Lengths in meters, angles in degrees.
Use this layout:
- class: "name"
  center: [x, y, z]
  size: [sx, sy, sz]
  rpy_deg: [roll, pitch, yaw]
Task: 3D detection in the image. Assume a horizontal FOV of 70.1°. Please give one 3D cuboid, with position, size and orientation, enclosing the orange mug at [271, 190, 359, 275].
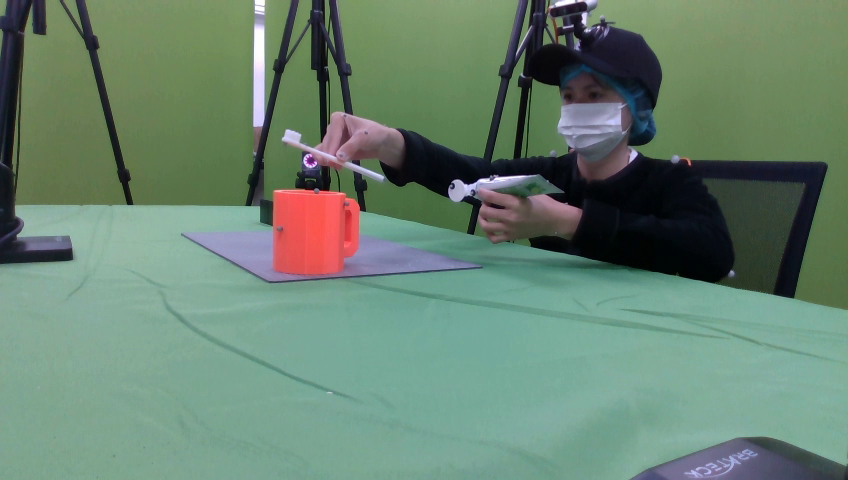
- class: "orange mug"
  center: [-0.131, -0.013, 0.754]
  size: [0.083, 0.101, 0.127]
  rpy_deg: [8, 13, 38]

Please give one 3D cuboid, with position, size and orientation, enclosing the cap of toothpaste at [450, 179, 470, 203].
- class: "cap of toothpaste"
  center: [0.056, -0.076, 0.936]
  size: [0.037, 0.037, 0.011]
  rpy_deg: [9, 10, 40]

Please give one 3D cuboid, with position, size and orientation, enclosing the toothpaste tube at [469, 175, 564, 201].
- class: "toothpaste tube"
  center: [0.124, -0.077, 0.876]
  size: [0.055, 0.034, 0.164]
  rpy_deg: [23, -13, -35]

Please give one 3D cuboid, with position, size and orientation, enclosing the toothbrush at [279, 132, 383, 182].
- class: "toothbrush"
  center: [-0.116, -0.106, 0.799]
  size: [0.014, 0.016, 0.183]
  rpy_deg: [8, -7, 40]
